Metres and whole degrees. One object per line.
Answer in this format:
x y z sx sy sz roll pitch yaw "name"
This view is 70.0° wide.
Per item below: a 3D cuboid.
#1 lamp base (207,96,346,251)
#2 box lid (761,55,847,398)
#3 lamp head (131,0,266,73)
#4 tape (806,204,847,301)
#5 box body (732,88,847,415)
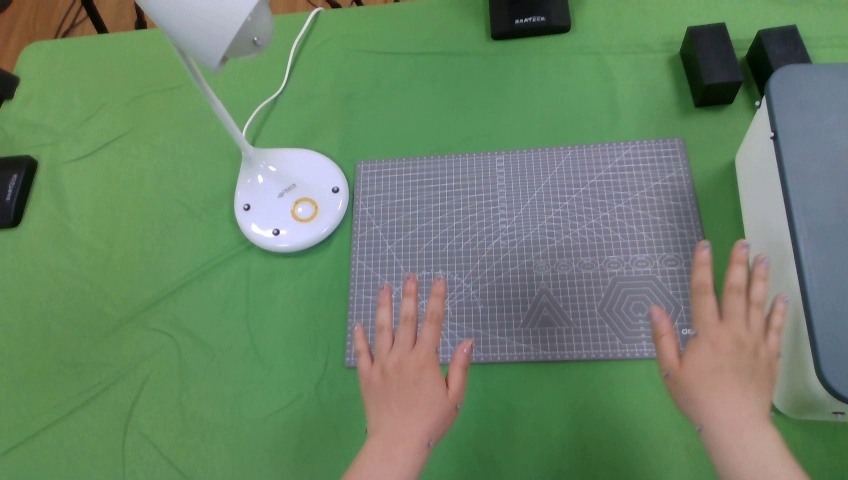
-0.207 -0.096 0.775 0.178 0.182 0.160 34 75 23 "lamp base"
0.485 -0.032 0.578 0.263 0.015 0.368 0 67 8 "box lid"
-0.196 -0.216 0.501 0.123 0.112 0.112 32 71 -16 "lamp head"
0.507 0.012 0.691 0.117 0.053 0.116 -3 66 6 "tape"
0.495 0.001 0.644 0.254 0.162 0.361 0 66 8 "box body"
